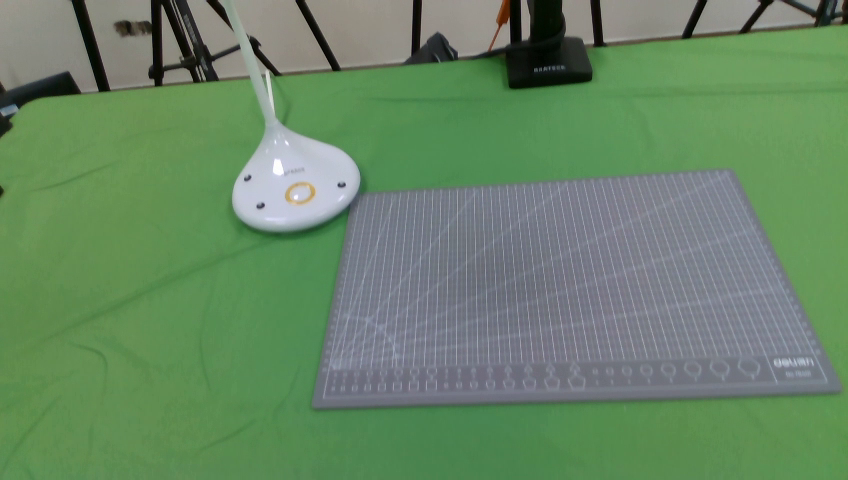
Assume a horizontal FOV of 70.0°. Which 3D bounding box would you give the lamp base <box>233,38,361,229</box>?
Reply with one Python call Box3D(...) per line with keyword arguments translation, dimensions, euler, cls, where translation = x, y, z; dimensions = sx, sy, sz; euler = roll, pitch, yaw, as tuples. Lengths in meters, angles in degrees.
Box3D(translation=(-0.174, -0.132, 0.712), dimensions=(0.161, 0.182, 0.177), euler=(-25, 43, -15), cls="lamp base")
